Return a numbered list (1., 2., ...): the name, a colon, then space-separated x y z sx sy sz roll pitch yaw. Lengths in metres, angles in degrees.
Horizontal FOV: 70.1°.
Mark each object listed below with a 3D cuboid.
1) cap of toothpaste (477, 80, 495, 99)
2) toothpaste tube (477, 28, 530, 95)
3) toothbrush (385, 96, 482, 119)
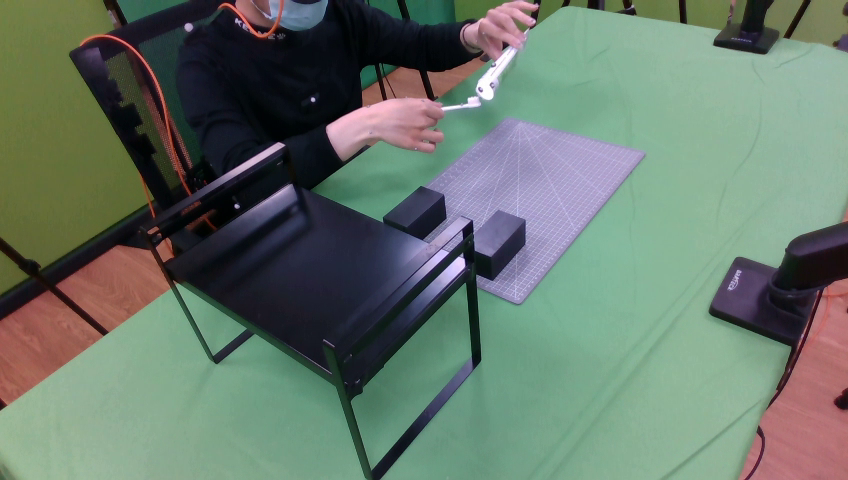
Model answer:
1. cap of toothpaste: 0.104 -0.255 1.030 0.011 0.037 0.037 -30 16 49
2. toothpaste tube: 0.145 -0.315 1.085 0.034 0.055 0.165 34 64 7
3. toothbrush: 0.014 -0.236 1.083 0.181 0.017 0.014 -6 37 17
